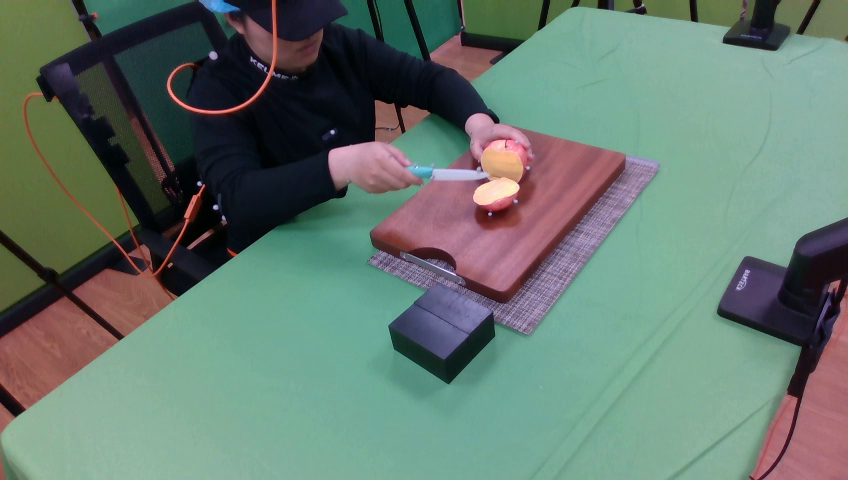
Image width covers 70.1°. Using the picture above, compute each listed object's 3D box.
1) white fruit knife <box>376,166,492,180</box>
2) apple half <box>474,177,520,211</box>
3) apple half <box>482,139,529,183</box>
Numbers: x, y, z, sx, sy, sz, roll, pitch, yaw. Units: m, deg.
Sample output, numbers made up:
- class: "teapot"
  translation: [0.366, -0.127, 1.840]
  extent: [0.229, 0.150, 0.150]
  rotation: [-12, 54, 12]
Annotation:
- class: "white fruit knife"
  translation: [0.010, -0.101, 0.921]
  extent: [0.206, 0.027, 0.016]
  rotation: [4, 53, 31]
- class: "apple half"
  translation: [0.123, -0.070, 0.994]
  extent: [0.081, 0.033, 0.081]
  rotation: [-17, 29, 11]
- class: "apple half"
  translation: [0.145, -0.138, 1.039]
  extent: [0.080, 0.075, 0.053]
  rotation: [11, 40, 28]
